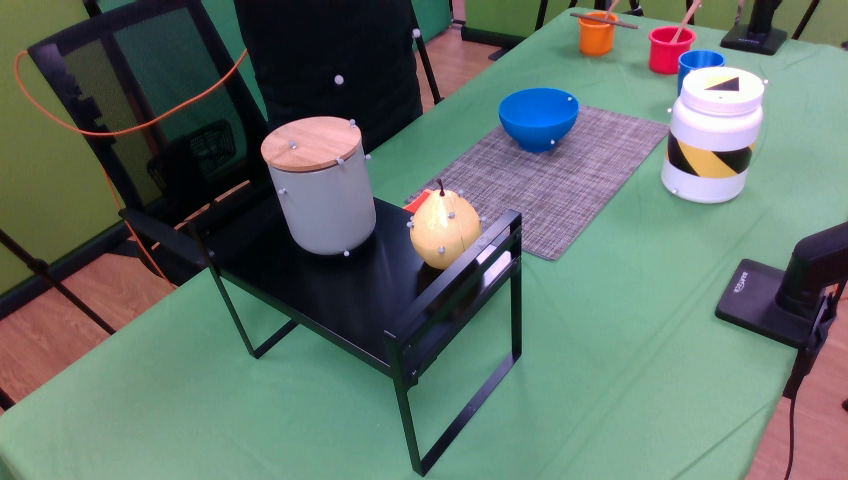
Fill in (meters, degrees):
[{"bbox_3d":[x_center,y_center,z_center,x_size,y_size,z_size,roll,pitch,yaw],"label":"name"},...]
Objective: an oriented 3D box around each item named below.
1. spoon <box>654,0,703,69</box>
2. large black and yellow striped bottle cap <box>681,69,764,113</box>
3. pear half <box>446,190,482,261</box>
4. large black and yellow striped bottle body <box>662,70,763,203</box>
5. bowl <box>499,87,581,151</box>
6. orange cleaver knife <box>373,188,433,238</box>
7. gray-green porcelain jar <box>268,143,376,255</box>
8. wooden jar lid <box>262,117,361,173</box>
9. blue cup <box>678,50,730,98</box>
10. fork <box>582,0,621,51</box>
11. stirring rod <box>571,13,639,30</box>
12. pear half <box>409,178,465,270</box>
[{"bbox_3d":[0.569,-0.462,1.335,0.041,0.022,0.193,34,99,37],"label":"spoon"},{"bbox_3d":[0.453,-0.229,0.921,0.115,0.019,0.114,-4,39,4],"label":"large black and yellow striped bottle cap"},{"bbox_3d":[0.046,-0.020,0.665,0.031,0.088,0.070,-17,38,-8],"label":"pear half"},{"bbox_3d":[0.464,-0.166,0.976,0.131,0.185,0.130,-5,41,5],"label":"large black and yellow striped bottle body"},{"bbox_3d":[0.220,-0.223,1.156,0.151,0.077,0.150,-4,40,4],"label":"bowl"},{"bbox_3d":[-0.023,-0.030,0.959,0.210,0.077,0.012,-16,24,52],"label":"orange cleaver knife"},{"bbox_3d":[-0.114,-0.055,0.704,0.106,0.127,0.105,-4,40,4],"label":"gray-green porcelain jar"},{"bbox_3d":[-0.122,-0.101,0.663,0.108,0.021,0.108,-3,39,3],"label":"wooden jar lid"},{"bbox_3d":[0.542,-0.310,1.194,0.092,0.101,0.092,-6,41,6],"label":"blue cup"},{"bbox_3d":[0.445,-0.538,1.438,0.207,0.019,0.028,-57,36,12],"label":"fork"},{"bbox_3d":[0.418,-0.508,1.404,0.174,0.006,0.014,28,55,35],"label":"stirring rod"},{"bbox_3d":[0.010,-0.019,0.654,0.056,0.110,0.076,-17,37,-9],"label":"pear half"}]
